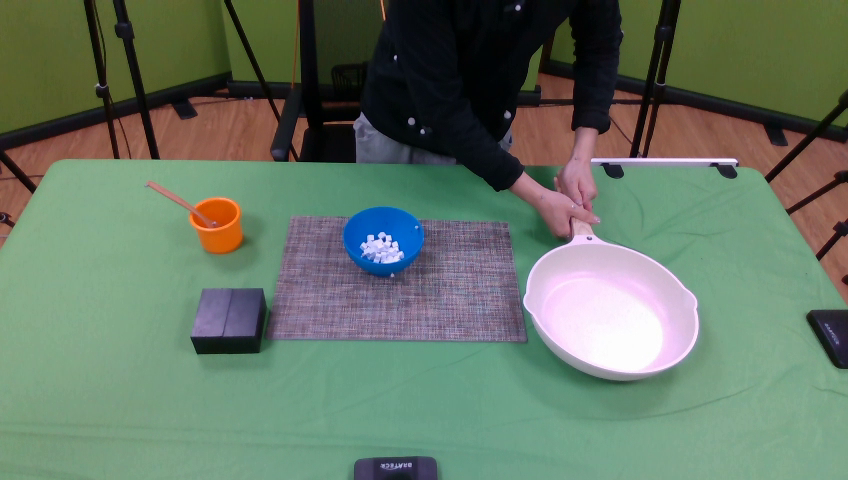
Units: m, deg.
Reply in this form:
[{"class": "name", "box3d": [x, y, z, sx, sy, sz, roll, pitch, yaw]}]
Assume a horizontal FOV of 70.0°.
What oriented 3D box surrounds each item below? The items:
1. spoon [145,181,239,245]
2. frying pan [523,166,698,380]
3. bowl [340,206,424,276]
[{"class": "spoon", "box3d": [-0.428, -0.052, 1.126, 0.021, 0.195, 0.041, -27, 35, 33]}, {"class": "frying pan", "box3d": [0.312, 0.042, 1.125, 0.307, 0.103, 0.484, 0, 53, -6]}, {"class": "bowl", "box3d": [-0.079, 0.014, 1.133, 0.151, 0.077, 0.150, 2, 46, -2]}]
